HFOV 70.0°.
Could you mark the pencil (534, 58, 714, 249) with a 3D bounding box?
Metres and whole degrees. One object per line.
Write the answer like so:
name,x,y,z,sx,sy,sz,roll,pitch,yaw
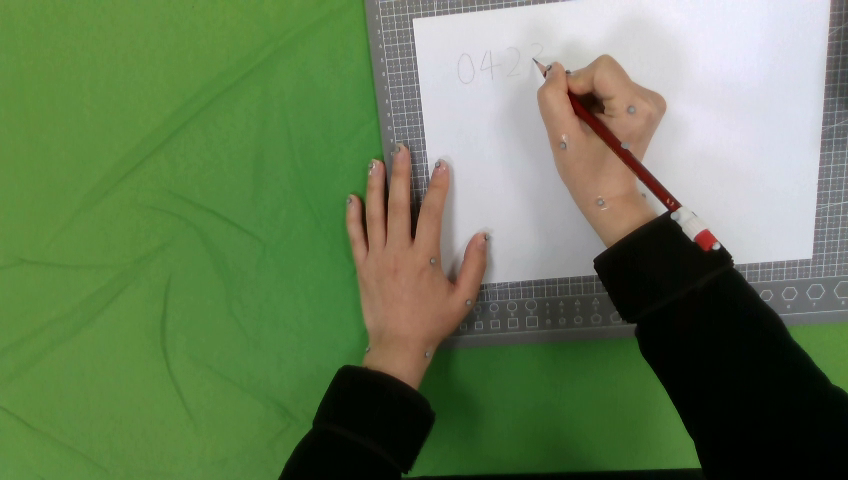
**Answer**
pencil,0.122,-0.066,0.397,0.012,0.192,0.012,-20,145,-14
